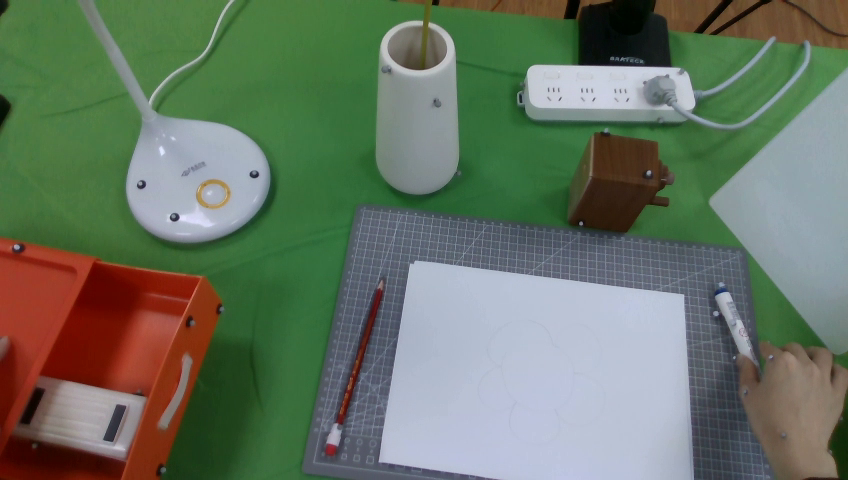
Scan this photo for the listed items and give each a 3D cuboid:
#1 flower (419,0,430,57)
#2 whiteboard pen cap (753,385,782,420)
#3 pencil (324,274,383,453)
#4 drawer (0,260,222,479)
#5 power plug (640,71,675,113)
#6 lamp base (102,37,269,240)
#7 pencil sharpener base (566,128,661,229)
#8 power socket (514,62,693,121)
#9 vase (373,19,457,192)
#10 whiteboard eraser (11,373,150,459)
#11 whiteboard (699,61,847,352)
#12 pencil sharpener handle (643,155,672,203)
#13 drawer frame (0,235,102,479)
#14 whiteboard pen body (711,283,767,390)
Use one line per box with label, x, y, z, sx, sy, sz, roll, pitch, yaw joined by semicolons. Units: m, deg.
flower;-0.001;-0.189;0.582;0.038;0.364;0.043;-4;45;-11
whiteboard pen cap;0.341;0.161;0.603;0.018;0.018;0.033;-7;62;-5
pencil;-0.068;0.120;0.621;0.012;0.012;0.192;13;62;5
drawer;-0.313;0.111;0.532;0.211;0.074;0.193;10;64;3
power plug;0.282;-0.174;0.742;0.035;0.053;0.072;10;65;4
lamp base;-0.270;-0.114;0.638;0.178;0.181;0.160;37;68;19
pencil sharpener base;0.206;-0.065;0.669;0.076;0.108;0.061;9;63;3
power socket;0.231;-0.190;0.774;0.227;0.033;0.071;1;64;-1
vase;-0.011;-0.136;0.647;0.098;0.201;0.097;0;63;0
whiteboard eraser;-0.294;0.153;0.527;0.112;0.042;0.055;7;57;10
whiteboard;0.484;-0.065;0.601;0.144;0.307;0.215;-15;62;-30
pencil sharpener handle;0.257;-0.062;0.656;0.030;0.068;0.035;9;62;3
drawer frame;-0.418;0.093;0.535;0.214;0.083;0.200;12;64;-1
whiteboard pen body;0.332;0.110;0.631;0.017;0.017;0.139;-9;64;-5
